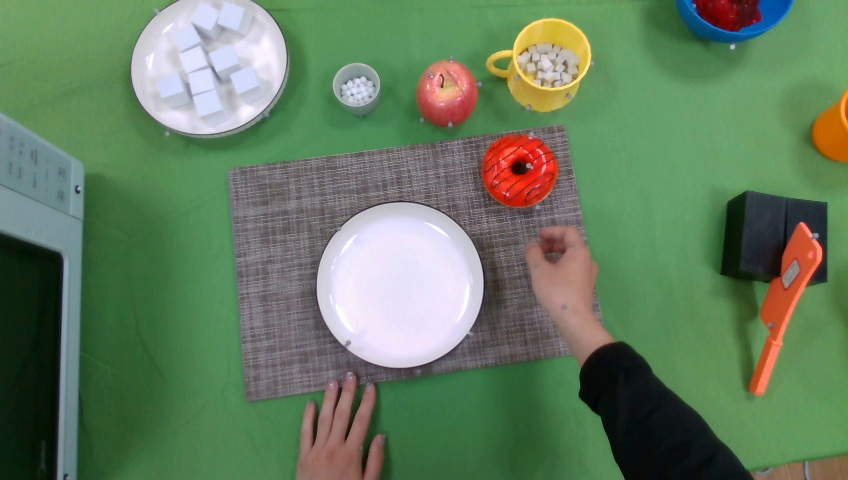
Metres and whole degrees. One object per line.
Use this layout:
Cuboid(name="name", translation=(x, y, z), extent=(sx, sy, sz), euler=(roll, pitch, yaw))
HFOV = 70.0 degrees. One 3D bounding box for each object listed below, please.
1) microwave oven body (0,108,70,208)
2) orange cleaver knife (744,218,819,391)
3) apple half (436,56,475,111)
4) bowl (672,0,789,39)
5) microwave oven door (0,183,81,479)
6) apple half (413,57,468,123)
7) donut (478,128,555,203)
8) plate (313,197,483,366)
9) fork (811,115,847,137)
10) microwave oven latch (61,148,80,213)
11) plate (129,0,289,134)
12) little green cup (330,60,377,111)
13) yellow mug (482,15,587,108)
Cuboid(name="microwave oven body", translation=(-0.585, 0.092, 0.630), extent=(0.326, 0.261, 0.439), euler=(-5, 79, -1))
Cuboid(name="orange cleaver knife", translation=(0.419, 0.079, 0.723), extent=(0.012, 0.077, 0.212), euler=(11, 111, 4))
Cuboid(name="apple half", translation=(0.046, -0.208, 0.787), extent=(0.033, 0.081, 0.081), euler=(-35, 80, -2))
Cuboid(name="bowl", translation=(0.394, -0.326, 0.808), extent=(0.151, 0.077, 0.150), euler=(0, 79, 1))
Cuboid(name="microwave oven door", translation=(-0.436, 0.120, 0.619), extent=(0.039, 0.244, 0.354), euler=(-5, 79, -1))
Cuboid(name="apple half", translation=(0.014, -0.185, 0.784), extent=(0.053, 0.075, 0.080), euler=(-34, 84, -2))
Cuboid(name="donut", translation=(0.118, -0.095, 0.776), extent=(0.099, 0.048, 0.098), euler=(0, 80, 2))
Cuboid(name="plate", translation=(-0.032, 0.050, 0.751), extent=(0.209, 0.038, 0.208), euler=(0, 79, 0))
Cuboid(name="fork", translation=(0.593, -0.158, 0.738), extent=(0.206, 0.019, 0.028), euler=(-10, 71, 43))
Cuboid(name="microwave oven latch", translation=(-0.452, -0.074, 0.760), extent=(0.030, 0.029, 0.079), euler=(-4, 80, -1))
Cuboid(name="plate", translation=(-0.283, -0.236, 0.811), extent=(0.208, 0.039, 0.206), euler=(0, 79, 0))
Cuboid(name="little green cup", translation=(-0.091, -0.202, 0.804), extent=(0.061, 0.039, 0.061), euler=(0, 79, 1))
Cuboid(name="yellow mug", translation=(0.142, -0.234, 0.796), extent=(0.131, 0.064, 0.099), euler=(3, 79, 1))
